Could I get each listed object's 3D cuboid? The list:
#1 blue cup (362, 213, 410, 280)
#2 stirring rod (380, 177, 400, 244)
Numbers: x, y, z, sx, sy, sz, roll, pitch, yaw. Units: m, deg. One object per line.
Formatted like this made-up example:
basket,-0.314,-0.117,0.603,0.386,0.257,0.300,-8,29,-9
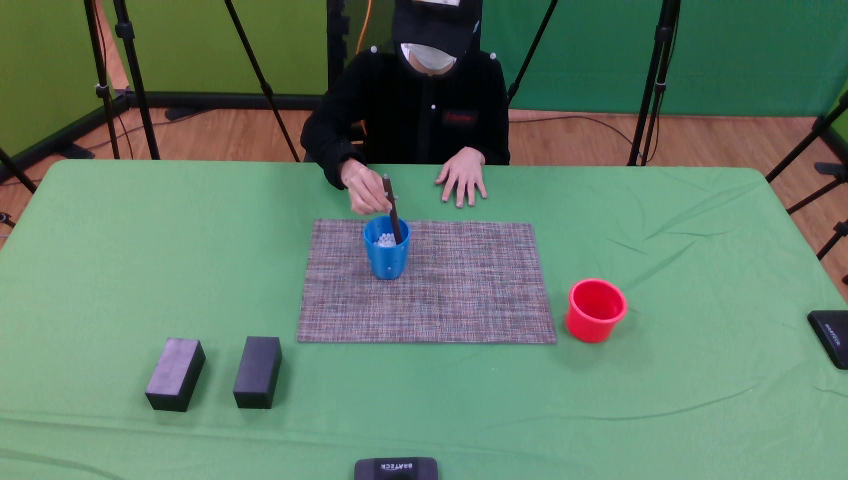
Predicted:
blue cup,-0.069,0.020,1.114,0.093,0.101,0.092,1,46,-1
stirring rod,-0.055,-0.041,1.047,0.014,0.177,0.006,8,48,16
